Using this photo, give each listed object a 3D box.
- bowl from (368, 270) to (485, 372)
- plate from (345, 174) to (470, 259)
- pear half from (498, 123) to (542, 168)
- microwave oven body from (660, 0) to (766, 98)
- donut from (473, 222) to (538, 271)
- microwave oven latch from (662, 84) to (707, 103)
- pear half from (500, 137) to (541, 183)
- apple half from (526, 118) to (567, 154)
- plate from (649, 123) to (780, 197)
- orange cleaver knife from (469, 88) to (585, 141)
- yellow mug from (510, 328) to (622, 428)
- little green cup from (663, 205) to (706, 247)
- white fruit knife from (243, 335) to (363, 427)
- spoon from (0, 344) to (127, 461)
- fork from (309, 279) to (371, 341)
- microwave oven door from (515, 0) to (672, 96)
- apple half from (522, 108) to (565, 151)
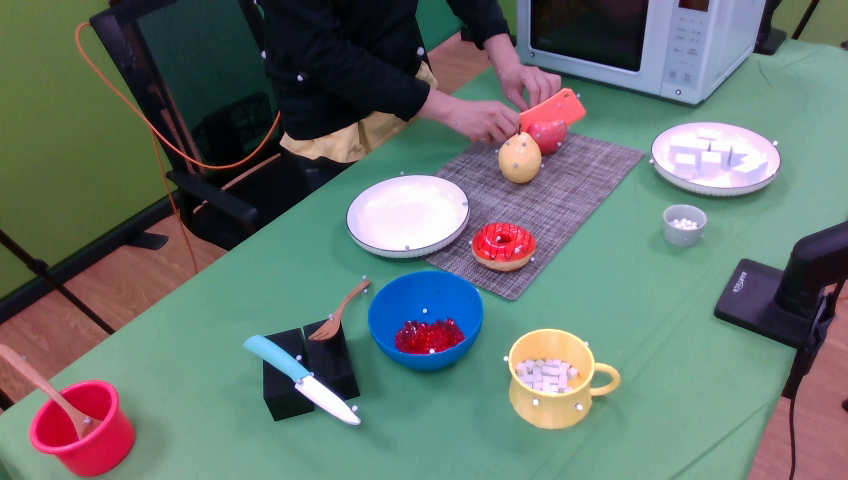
[{"bbox_3d":[0.007,0.118,0.791,0.151,0.077,0.150,-5,40,4],"label":"bowl"},{"bbox_3d":[-0.026,-0.037,1.004,0.209,0.038,0.208,-4,40,4],"label":"plate"},{"bbox_3d":[0.169,-0.163,1.068,0.076,0.110,0.055,-3,41,0],"label":"pear half"},{"bbox_3d":[0.472,-0.513,1.317,0.438,0.261,0.327,26,51,34],"label":"microwave oven body"},{"bbox_3d":[0.123,0.009,0.923,0.099,0.048,0.098,-3,38,3],"label":"donut"},{"bbox_3d":[0.517,-0.296,1.204,0.078,0.029,0.030,27,52,35],"label":"microwave oven latch"},{"bbox_3d":[0.169,-0.133,1.048,0.070,0.088,0.031,-2,40,-1],"label":"pear half"},{"bbox_3d":[0.228,-0.184,1.113,0.081,0.081,0.032,-8,43,0],"label":"apple half"},{"bbox_3d":[0.497,-0.135,1.046,0.207,0.039,0.206,-4,40,4],"label":"plate"},{"bbox_3d":[0.188,-0.213,1.108,0.211,0.078,0.012,-20,38,13],"label":"orange cleaver knife"},{"bbox_3d":[0.169,0.164,0.722,0.130,0.064,0.099,0,41,8],"label":"yellow mug"},{"bbox_3d":[0.396,-0.020,0.926,0.061,0.039,0.061,-4,40,4],"label":"little green cup"},{"bbox_3d":[-0.148,0.167,0.729,0.206,0.016,0.027,27,80,31],"label":"white fruit knife"},{"bbox_3d":[-0.433,0.191,0.721,0.194,0.021,0.042,47,53,-6],"label":"spoon"},{"bbox_3d":[-0.109,0.093,0.832,0.028,0.018,0.207,-4,19,15],"label":"fork"},{"bbox_3d":[0.343,-0.455,1.259,0.353,0.245,0.039,26,51,33],"label":"microwave oven door"},{"bbox_3d":[0.225,-0.214,1.146,0.081,0.075,0.053,-8,39,7],"label":"apple half"}]
